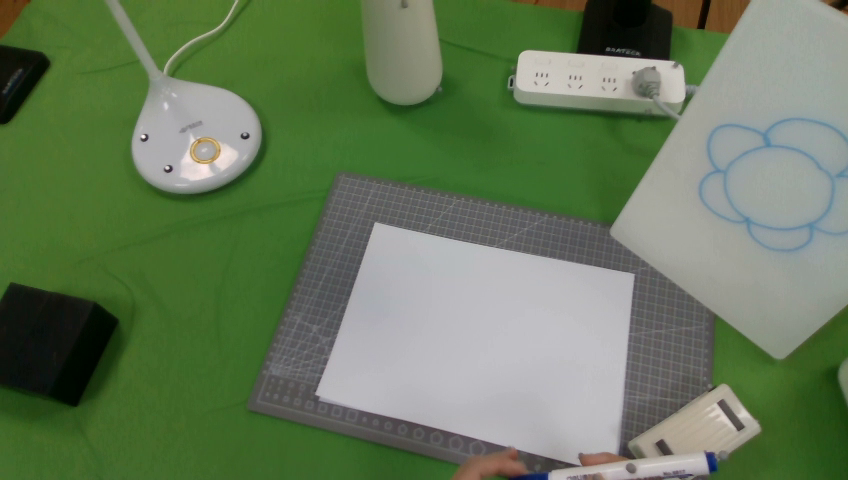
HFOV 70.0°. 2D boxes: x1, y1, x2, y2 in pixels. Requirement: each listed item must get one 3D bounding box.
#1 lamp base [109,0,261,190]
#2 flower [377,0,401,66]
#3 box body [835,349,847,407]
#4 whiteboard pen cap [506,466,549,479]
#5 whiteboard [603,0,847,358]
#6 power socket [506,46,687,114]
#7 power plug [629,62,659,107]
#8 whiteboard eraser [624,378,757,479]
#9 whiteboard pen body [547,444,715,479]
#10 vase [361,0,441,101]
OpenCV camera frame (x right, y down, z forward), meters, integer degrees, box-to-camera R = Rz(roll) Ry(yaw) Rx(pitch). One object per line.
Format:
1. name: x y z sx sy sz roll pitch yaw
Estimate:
1. lamp base: -0.298 -0.175 0.698 0.160 0.182 0.177 -39 65 -17
2. flower: -0.017 -0.286 0.642 0.044 0.362 0.038 -27 82 -20
3. box body: 0.532 0.222 0.471 0.254 0.161 0.360 -5 63 0
4. whiteboard pen cap: 0.080 0.181 0.458 0.033 0.018 0.018 -13 61 18
5. whiteboard: 0.359 -0.073 0.584 0.215 0.307 0.144 42 51 21
6. power socket: 0.220 -0.206 0.777 0.226 0.033 0.071 7 64 5
7. power plug: 0.265 -0.184 0.739 0.035 0.053 0.072 16 71 11
8. whiteboard eraser: 0.248 0.180 0.569 0.113 0.042 0.055 -28 64 -11
9. whiteboard pen body: 0.136 0.165 0.438 0.140 0.017 0.017 -16 60 19
10. vase: -0.031 -0.259 0.721 0.098 0.201 0.097 -1 62 3
